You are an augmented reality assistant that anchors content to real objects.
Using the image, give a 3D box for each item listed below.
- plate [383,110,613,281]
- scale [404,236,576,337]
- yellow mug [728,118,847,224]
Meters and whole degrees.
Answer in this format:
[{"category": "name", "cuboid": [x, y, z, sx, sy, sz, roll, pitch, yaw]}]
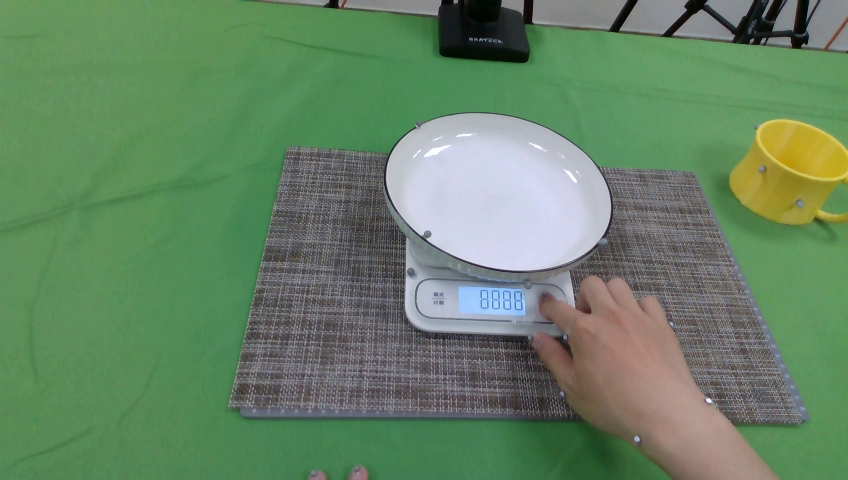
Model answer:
[{"category": "plate", "cuboid": [0.065, -0.042, 0.555, 0.209, 0.038, 0.207, 4, 49, -4]}, {"category": "scale", "cuboid": [0.058, -0.003, 0.563, 0.149, 0.032, 0.199, 4, 49, -4]}, {"category": "yellow mug", "cuboid": [0.404, -0.066, 0.647, 0.100, 0.064, 0.130, -35, 62, -31]}]
